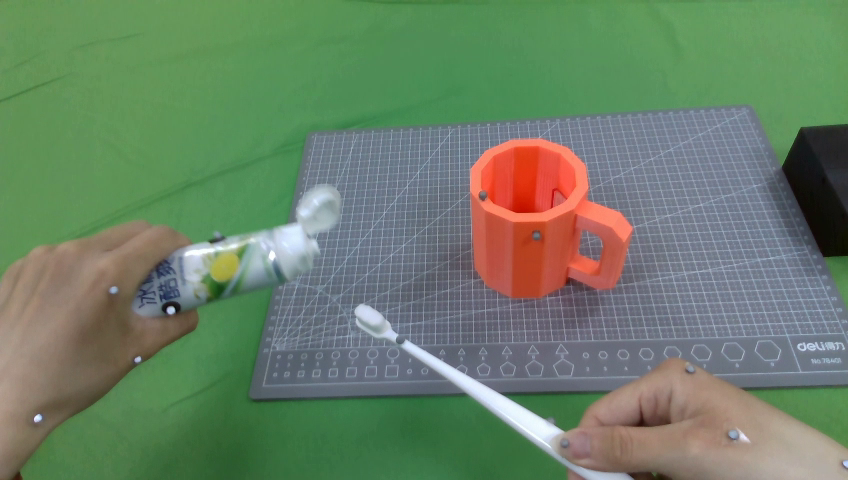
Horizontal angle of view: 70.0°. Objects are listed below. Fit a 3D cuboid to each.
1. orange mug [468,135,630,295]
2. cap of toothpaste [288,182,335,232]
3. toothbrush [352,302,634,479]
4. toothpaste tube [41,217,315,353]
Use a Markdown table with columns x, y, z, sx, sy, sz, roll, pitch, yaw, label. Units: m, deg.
| x | y | z | sx | sy | sz | roll | pitch | yaw | label |
| --- | --- | --- | --- | --- | --- | --- | --- | --- | --- |
| 0.093 | -0.012 | 0.467 | 0.125 | 0.102 | 0.083 | 22 | 57 | 27 | orange mug |
| -0.071 | -0.020 | 0.395 | 0.037 | 0.038 | 0.011 | -40 | 53 | -22 | cap of toothpaste |
| 0.029 | 0.080 | 0.325 | 0.180 | 0.017 | 0.014 | 29 | 57 | 26 | toothbrush |
| -0.148 | 0.019 | 0.372 | 0.165 | 0.035 | 0.054 | -16 | 70 | -6 | toothpaste tube |
